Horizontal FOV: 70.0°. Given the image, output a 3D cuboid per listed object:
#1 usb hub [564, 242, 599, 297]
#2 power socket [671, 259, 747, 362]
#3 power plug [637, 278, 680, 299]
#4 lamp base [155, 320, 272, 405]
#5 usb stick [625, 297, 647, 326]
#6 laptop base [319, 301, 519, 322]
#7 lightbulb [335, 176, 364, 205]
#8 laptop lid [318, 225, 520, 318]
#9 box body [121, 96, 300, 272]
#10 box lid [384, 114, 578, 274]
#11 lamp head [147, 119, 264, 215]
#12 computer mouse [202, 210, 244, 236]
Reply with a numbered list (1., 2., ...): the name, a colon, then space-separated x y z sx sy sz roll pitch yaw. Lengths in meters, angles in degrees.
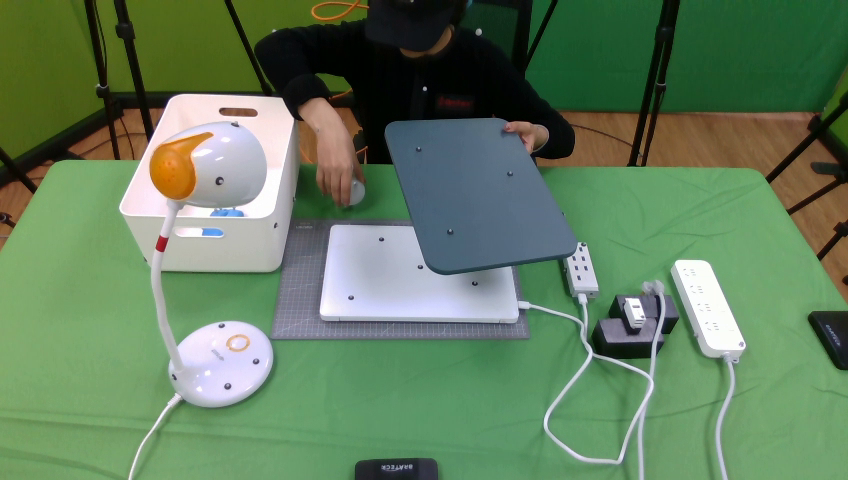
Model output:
1. usb hub: 0.300 0.055 1.162 0.049 0.025 0.124 2 46 -2
2. power socket: 0.517 0.119 1.108 0.072 0.033 0.225 1 46 -2
3. power plug: 0.434 0.098 1.120 0.073 0.053 0.035 33 39 -18
4. lamp base: -0.330 0.149 0.918 0.160 0.181 0.179 26 52 20
5. usb stick: 0.360 0.116 1.034 0.021 0.027 0.059 -2 44 -2
6. laptop base: -0.009 0.063 1.137 0.354 0.023 0.234 1 42 -3
7. lightbulb: -0.150 -0.107 1.261 0.059 0.059 0.107 5 17 1
8. laptop lid: -0.009 0.053 1.131 0.357 0.013 0.240 2 43 -2
9. box body: -0.387 -0.112 1.182 0.254 0.161 0.361 1 46 -3
10. box lid: 0.089 -0.096 1.062 0.264 0.015 0.369 -7 51 -14
11. lamp head: -0.276 -0.087 0.740 0.112 0.112 0.123 20 23 15
12. computer mouse: -0.389 -0.022 1.171 0.063 0.041 0.116 -1 41 -2
